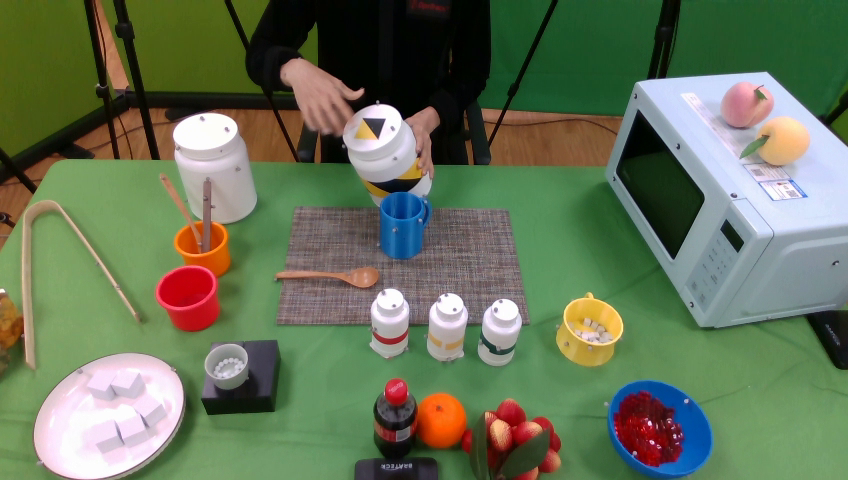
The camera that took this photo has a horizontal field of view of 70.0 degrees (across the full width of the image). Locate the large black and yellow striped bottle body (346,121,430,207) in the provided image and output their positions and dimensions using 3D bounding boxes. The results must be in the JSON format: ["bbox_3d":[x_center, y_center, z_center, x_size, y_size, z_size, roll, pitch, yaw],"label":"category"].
[{"bbox_3d":[-0.073,-0.155,1.175,0.130,0.185,0.130,-8,55,13],"label":"large black and yellow striped bottle body"}]

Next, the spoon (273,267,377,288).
[{"bbox_3d":[-0.183,0.065,1.115,0.194,0.022,0.041,3,67,-1],"label":"spoon"}]

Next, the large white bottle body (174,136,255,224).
[{"bbox_3d":[-0.408,-0.137,1.183,0.131,0.185,0.130,2,46,-2],"label":"large white bottle body"}]

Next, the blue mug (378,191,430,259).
[{"bbox_3d":[-0.033,-0.035,1.167,0.116,0.106,0.082,-30,55,-29],"label":"blue mug"}]

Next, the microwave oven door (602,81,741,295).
[{"bbox_3d":[0.456,-0.107,1.162,0.039,0.245,0.353,-7,47,-11],"label":"microwave oven door"}]

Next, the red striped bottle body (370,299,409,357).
[{"bbox_3d":[-0.057,0.135,0.997,0.063,0.120,0.062,2,47,-2],"label":"red striped bottle body"}]

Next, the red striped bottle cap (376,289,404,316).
[{"bbox_3d":[-0.054,0.098,0.958,0.044,0.018,0.044,0,48,0],"label":"red striped bottle cap"}]

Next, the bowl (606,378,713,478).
[{"bbox_3d":[0.340,0.292,0.906,0.151,0.077,0.150,2,46,-2],"label":"bowl"}]

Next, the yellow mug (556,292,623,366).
[{"bbox_3d":[0.285,0.145,1.051,0.100,0.064,0.130,7,45,3],"label":"yellow mug"}]

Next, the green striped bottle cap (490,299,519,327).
[{"bbox_3d":[0.127,0.115,0.958,0.044,0.020,0.044,3,48,-3],"label":"green striped bottle cap"}]

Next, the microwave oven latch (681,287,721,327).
[{"bbox_3d":[0.494,0.119,1.087,0.030,0.029,0.078,-5,46,-9],"label":"microwave oven latch"}]

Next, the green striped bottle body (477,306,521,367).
[{"bbox_3d":[0.124,0.151,0.995,0.063,0.120,0.063,2,46,-2],"label":"green striped bottle body"}]

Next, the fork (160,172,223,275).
[{"bbox_3d":[-0.425,-0.030,1.103,0.028,0.018,0.207,-29,98,-19],"label":"fork"}]

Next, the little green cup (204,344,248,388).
[{"bbox_3d":[-0.294,0.191,0.909,0.061,0.039,0.061,1,48,-1],"label":"little green cup"}]

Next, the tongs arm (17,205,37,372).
[{"bbox_3d":[-0.698,0.072,1.069,0.028,0.028,0.385,-21,51,-13],"label":"tongs arm"}]

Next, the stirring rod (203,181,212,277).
[{"bbox_3d":[-0.396,-0.021,1.108,0.014,0.006,0.176,-1,90,-1],"label":"stirring rod"}]

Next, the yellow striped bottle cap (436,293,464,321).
[{"bbox_3d":[0.041,0.106,0.959,0.044,0.019,0.044,-1,49,1],"label":"yellow striped bottle cap"}]

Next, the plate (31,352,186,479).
[{"bbox_3d":[-0.459,0.262,0.898,0.209,0.038,0.208,2,46,-2],"label":"plate"}]

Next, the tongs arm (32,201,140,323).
[{"bbox_3d":[-0.623,0.035,1.105,0.051,0.026,0.382,-33,56,-25],"label":"tongs arm"}]

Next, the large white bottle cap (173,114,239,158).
[{"bbox_3d":[-0.403,-0.195,1.122,0.115,0.018,0.114,2,47,-2],"label":"large white bottle cap"}]

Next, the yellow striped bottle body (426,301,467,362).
[{"bbox_3d":[0.037,0.142,0.996,0.063,0.121,0.062,2,46,-2],"label":"yellow striped bottle body"}]

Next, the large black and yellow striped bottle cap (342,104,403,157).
[{"bbox_3d":[-0.095,-0.202,1.107,0.115,0.019,0.114,-10,55,14],"label":"large black and yellow striped bottle cap"}]

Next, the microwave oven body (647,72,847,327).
[{"bbox_3d":[0.607,-0.089,1.164,0.326,0.261,0.438,-7,46,-10],"label":"microwave oven body"}]
